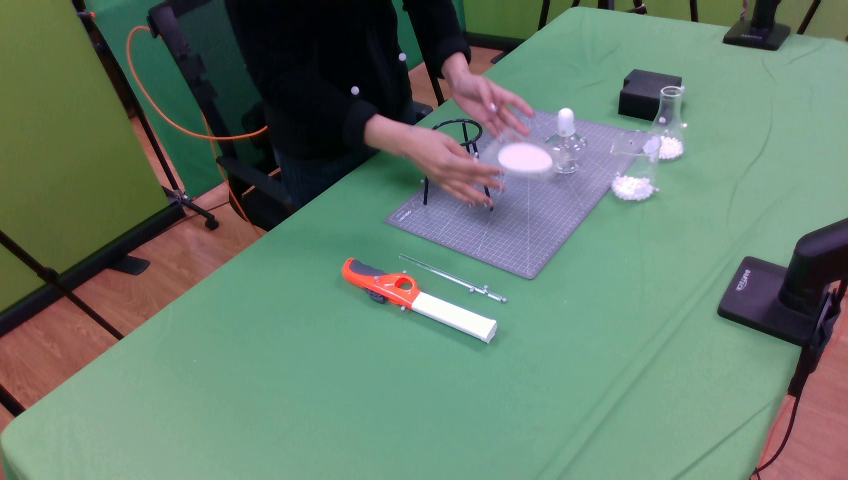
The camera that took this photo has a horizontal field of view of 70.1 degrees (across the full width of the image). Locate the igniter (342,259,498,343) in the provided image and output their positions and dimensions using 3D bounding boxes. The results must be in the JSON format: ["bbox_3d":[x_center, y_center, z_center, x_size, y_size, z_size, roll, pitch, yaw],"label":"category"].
[{"bbox_3d":[-0.017,0.084,0.883,0.274,0.025,0.057,20,59,31],"label":"igniter"}]

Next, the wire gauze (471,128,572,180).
[{"bbox_3d":[0.155,-0.134,0.944,0.121,0.011,0.125,22,41,22],"label":"wire gauze"}]

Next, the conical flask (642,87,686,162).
[{"bbox_3d":[0.429,-0.206,1.068,0.075,0.122,0.075,-6,40,5],"label":"conical flask"}]

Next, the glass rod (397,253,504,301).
[{"bbox_3d":[0.036,0.054,0.922,0.198,0.008,0.008,22,50,31],"label":"glass rod"}]

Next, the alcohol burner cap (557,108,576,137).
[{"bbox_3d":[0.246,-0.205,1.047,0.034,0.048,0.033,-8,44,8],"label":"alcohol burner cap"}]

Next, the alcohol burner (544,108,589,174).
[{"bbox_3d":[0.252,-0.178,1.071,0.078,0.120,0.077,-7,40,6],"label":"alcohol burner"}]

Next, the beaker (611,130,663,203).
[{"bbox_3d":[0.346,-0.118,0.998,0.084,0.101,0.073,-17,40,-7],"label":"beaker"}]

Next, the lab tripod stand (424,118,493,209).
[{"bbox_3d":[0.061,-0.133,1.038,0.148,0.132,0.147,-6,38,6],"label":"lab tripod stand"}]
